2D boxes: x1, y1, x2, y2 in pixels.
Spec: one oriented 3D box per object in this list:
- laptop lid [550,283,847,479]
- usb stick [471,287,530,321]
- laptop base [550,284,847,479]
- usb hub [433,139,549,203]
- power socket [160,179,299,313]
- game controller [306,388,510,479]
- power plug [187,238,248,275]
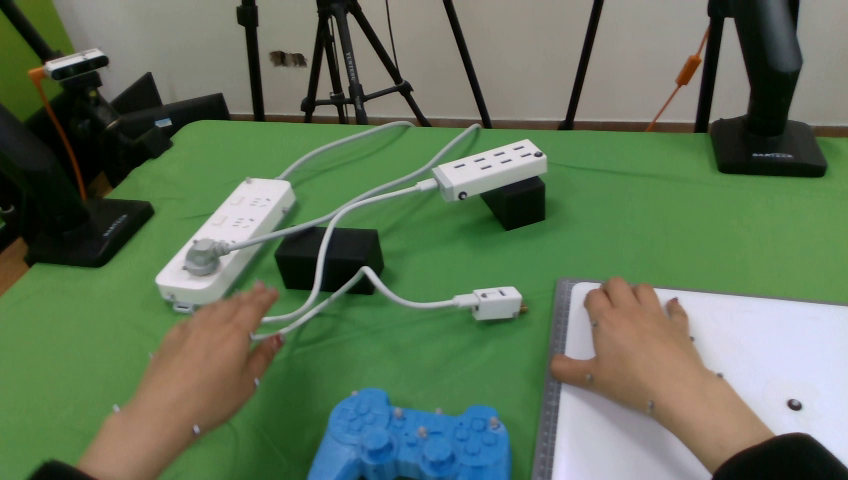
[{"bbox_3d":[0.285,0.130,0.465,0.355,0.013,0.240,6,42,17],"label":"laptop lid"},{"bbox_3d":[0.078,0.062,0.591,0.059,0.027,0.021,1,24,-21],"label":"usb stick"},{"bbox_3d":[0.287,0.138,0.474,0.353,0.023,0.234,5,43,15],"label":"laptop base"},{"bbox_3d":[0.077,-0.079,0.695,0.125,0.025,0.049,-18,40,-11],"label":"usb hub"},{"bbox_3d":[-0.225,-0.004,0.724,0.072,0.033,0.225,7,41,16],"label":"power socket"},{"bbox_3d":[-0.008,0.163,0.468,0.154,0.052,0.096,6,36,16],"label":"game controller"},{"bbox_3d":[-0.221,0.027,0.646,0.072,0.053,0.035,16,43,23],"label":"power plug"}]
